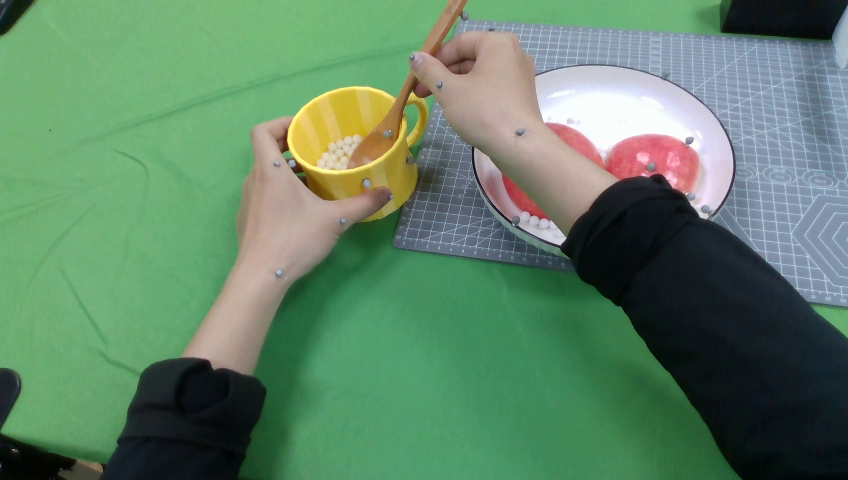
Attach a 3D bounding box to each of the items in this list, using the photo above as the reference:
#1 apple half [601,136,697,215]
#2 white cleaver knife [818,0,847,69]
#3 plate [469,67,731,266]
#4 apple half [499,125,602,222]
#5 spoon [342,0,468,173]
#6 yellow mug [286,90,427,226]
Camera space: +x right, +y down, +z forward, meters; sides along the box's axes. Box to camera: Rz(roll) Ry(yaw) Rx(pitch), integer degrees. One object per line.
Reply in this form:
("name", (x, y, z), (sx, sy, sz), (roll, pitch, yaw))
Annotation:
("apple half", (0.184, -0.061, 0.493), (0.081, 0.033, 0.080), (-3, 58, 5))
("white cleaver knife", (0.391, -0.197, 0.554), (0.021, 0.066, 0.284), (5, 52, 16))
("plate", (0.141, -0.063, 0.507), (0.209, 0.038, 0.207), (-3, 56, 4))
("apple half", (0.102, -0.062, 0.491), (0.081, 0.054, 0.074), (-29, 55, -14))
("spoon", (-0.013, -0.118, 0.483), (0.041, 0.194, 0.022), (44, 29, 21))
("yellow mug", (-0.049, -0.080, 0.524), (0.131, 0.064, 0.099), (-37, 60, -18))
